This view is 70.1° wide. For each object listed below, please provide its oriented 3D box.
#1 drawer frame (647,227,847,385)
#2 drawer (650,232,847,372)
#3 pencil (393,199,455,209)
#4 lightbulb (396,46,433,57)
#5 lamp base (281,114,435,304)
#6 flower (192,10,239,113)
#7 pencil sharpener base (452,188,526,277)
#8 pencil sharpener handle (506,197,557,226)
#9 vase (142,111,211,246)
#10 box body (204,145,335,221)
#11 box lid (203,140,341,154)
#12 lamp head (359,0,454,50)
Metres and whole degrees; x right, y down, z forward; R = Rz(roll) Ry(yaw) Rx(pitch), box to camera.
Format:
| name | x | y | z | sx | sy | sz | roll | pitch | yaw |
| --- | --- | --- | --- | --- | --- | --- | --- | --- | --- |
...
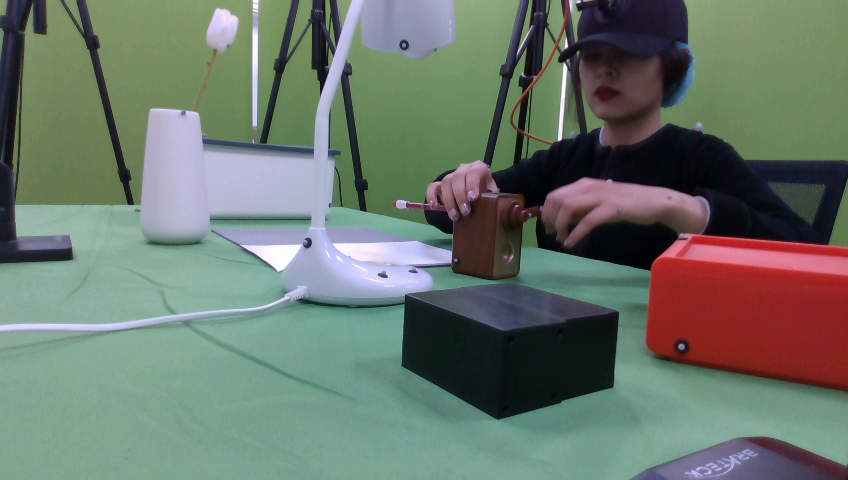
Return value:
| name | x | y | z | sx | sy | sz | roll | pitch | yaw |
| --- | --- | --- | --- | --- | --- | --- | --- | --- | --- |
| drawer frame | 0.303 | 0.043 | 0.495 | 0.201 | 0.082 | 0.214 | 6 | 9 | 26 |
| drawer | 0.303 | 0.044 | 0.499 | 0.194 | 0.073 | 0.212 | 6 | 9 | 27 |
| pencil | 0.026 | -0.046 | 0.816 | 0.193 | 0.012 | 0.012 | 7 | 9 | 43 |
| lightbulb | -0.018 | -0.265 | 0.692 | 0.059 | 0.108 | 0.059 | -10 | 28 | 5 |
| lamp base | -0.071 | -0.035 | 0.614 | 0.160 | 0.180 | 0.180 | 6 | 10 | 27 |
| flower | -0.354 | -0.174 | 0.915 | 0.038 | 0.361 | 0.044 | 18 | -4 | 12 |
| pencil sharpener base | 0.083 | -0.011 | 0.764 | 0.076 | 0.107 | 0.062 | 9 | 9 | 43 |
| pencil sharpener handle | 0.132 | -0.036 | 0.737 | 0.030 | 0.036 | 0.068 | 9 | 19 | 43 |
| vase | -0.378 | -0.093 | 0.920 | 0.098 | 0.200 | 0.098 | 2 | 9 | 0 |
| box body | -0.411 | -0.135 | 1.386 | 0.366 | 0.160 | 0.253 | -2 | 9 | -29 |
| box lid | -0.396 | -0.212 | 1.373 | 0.373 | 0.015 | 0.262 | -1 | 9 | -29 |
| lamp head | -0.024 | -0.283 | 0.674 | 0.112 | 0.123 | 0.112 | -3 | 38 | 3 |
